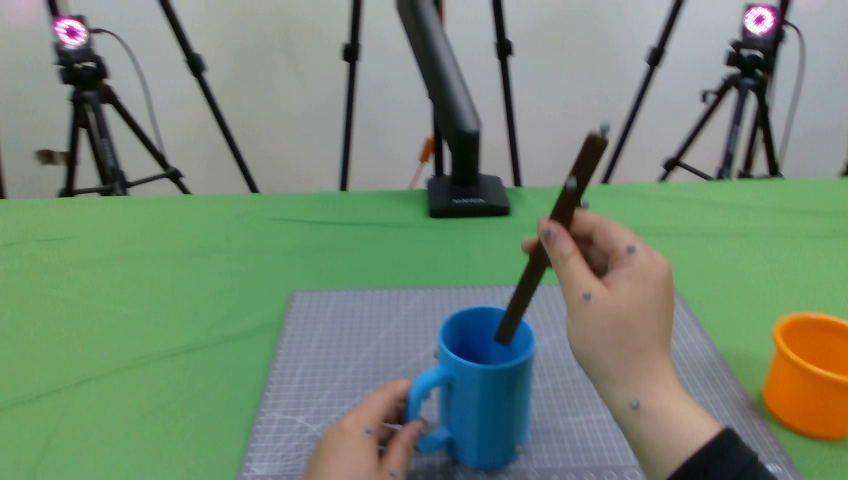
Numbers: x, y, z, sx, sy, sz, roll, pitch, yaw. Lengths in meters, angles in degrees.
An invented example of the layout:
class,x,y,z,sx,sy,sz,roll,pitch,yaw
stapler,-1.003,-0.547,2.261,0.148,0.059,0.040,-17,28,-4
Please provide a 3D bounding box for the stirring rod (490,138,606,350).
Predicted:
class,x,y,z,sx,sy,sz,roll,pitch,yaw
stirring rod,0.078,0.011,0.402,0.014,0.177,0.006,23,35,6

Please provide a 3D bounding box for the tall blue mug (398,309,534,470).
class,x,y,z,sx,sy,sz,roll,pitch,yaw
tall blue mug,0.038,0.128,0.483,0.077,0.109,0.107,17,34,25
